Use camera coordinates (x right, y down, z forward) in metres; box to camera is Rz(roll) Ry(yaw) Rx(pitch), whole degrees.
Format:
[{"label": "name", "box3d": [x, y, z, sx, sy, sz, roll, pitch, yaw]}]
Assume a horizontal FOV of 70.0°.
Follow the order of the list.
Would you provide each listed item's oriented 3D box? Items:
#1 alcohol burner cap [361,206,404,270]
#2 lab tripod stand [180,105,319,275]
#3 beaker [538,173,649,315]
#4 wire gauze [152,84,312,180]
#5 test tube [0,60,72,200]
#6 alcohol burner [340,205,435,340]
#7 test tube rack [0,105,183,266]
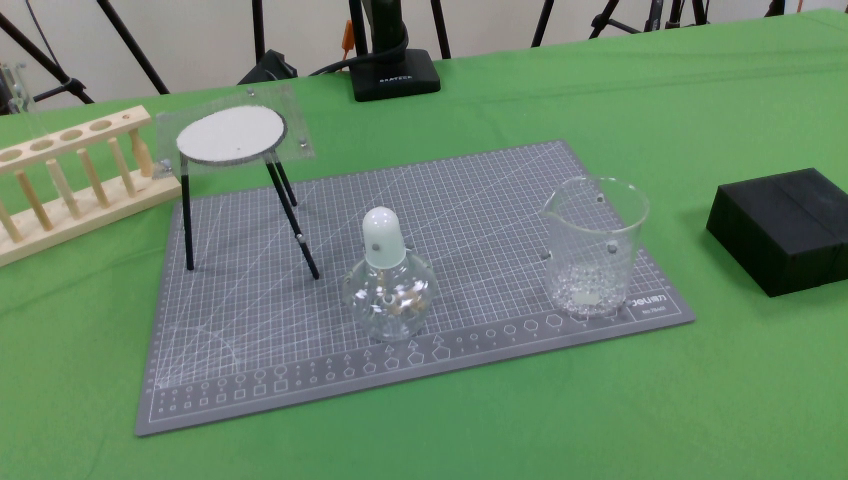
[{"label": "alcohol burner cap", "box3d": [-0.034, -0.004, 0.460, 0.034, 0.048, 0.033, -3, 43, 3]}, {"label": "lab tripod stand", "box3d": [-0.160, -0.042, 0.553, 0.148, 0.133, 0.147, -2, 43, 3]}, {"label": "beaker", "box3d": [0.135, 0.007, 0.500, 0.084, 0.101, 0.073, -3, 41, 3]}, {"label": "wire gauze", "box3d": [-0.164, -0.092, 0.508, 0.125, 0.011, 0.120, -14, 42, -11]}, {"label": "test tube", "box3d": [-0.387, -0.105, 0.608, 0.017, 0.151, 0.017, -1, 37, 1]}, {"label": "alcohol burner", "box3d": [-0.030, 0.023, 0.484, 0.078, 0.120, 0.077, -2, 39, 2]}, {"label": "test tube rack", "box3d": [-0.387, -0.050, 0.621, 0.242, 0.086, 0.066, -27, 46, -25]}]
